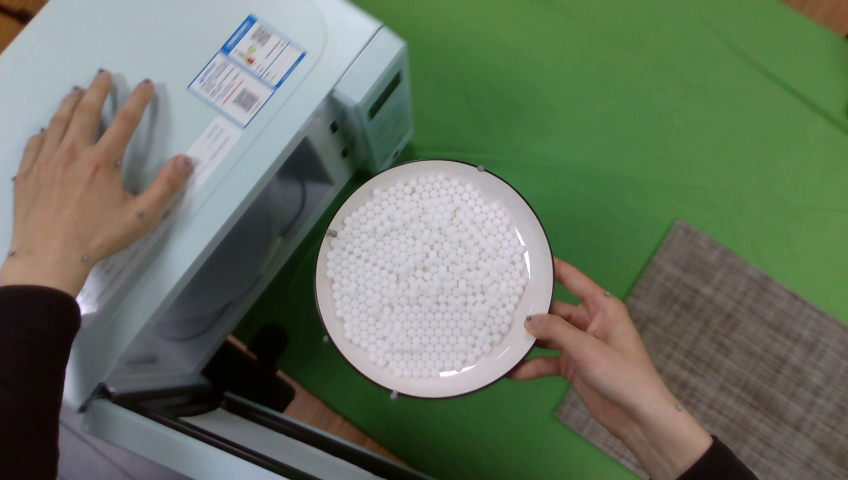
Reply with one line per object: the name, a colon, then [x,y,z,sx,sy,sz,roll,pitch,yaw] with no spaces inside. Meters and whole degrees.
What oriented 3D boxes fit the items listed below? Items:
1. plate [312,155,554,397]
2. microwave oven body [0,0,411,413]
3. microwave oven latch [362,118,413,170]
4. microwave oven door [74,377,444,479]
plate: [0.008,0.030,0.533,0.209,0.038,0.208,0,82,1]
microwave oven body: [-0.271,-0.087,0.662,0.325,0.261,0.441,35,82,5]
microwave oven latch: [-0.047,-0.126,0.767,0.030,0.029,0.079,39,83,6]
microwave oven door: [-0.120,0.225,0.603,0.355,0.244,0.039,21,80,3]
